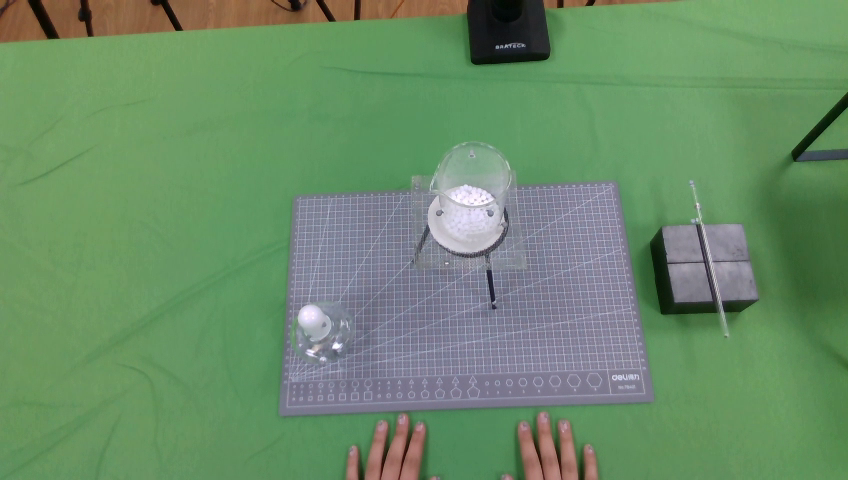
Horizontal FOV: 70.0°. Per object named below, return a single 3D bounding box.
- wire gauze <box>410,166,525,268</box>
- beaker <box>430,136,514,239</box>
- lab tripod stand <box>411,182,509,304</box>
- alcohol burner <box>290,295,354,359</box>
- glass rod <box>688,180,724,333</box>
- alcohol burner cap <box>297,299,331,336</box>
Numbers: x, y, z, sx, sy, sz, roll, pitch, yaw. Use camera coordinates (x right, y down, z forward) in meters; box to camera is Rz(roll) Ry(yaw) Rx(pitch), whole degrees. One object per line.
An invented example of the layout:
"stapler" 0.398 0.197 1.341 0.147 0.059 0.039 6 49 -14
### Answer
"wire gauze" 0.047 -0.026 0.675 0.125 0.011 0.120 -1 68 -1
"beaker" 0.048 -0.049 0.632 0.084 0.101 0.073 -18 68 -5
"lab tripod stand" 0.054 -0.005 0.738 0.148 0.132 0.147 -1 66 3
"alcohol burner" -0.123 0.098 0.713 0.078 0.120 0.077 0 69 1
"glass rod" 0.343 0.016 0.737 0.008 0.008 0.198 -2 68 2
"alcohol burner cap" -0.125 0.085 0.679 0.034 0.048 0.033 -3 62 5
